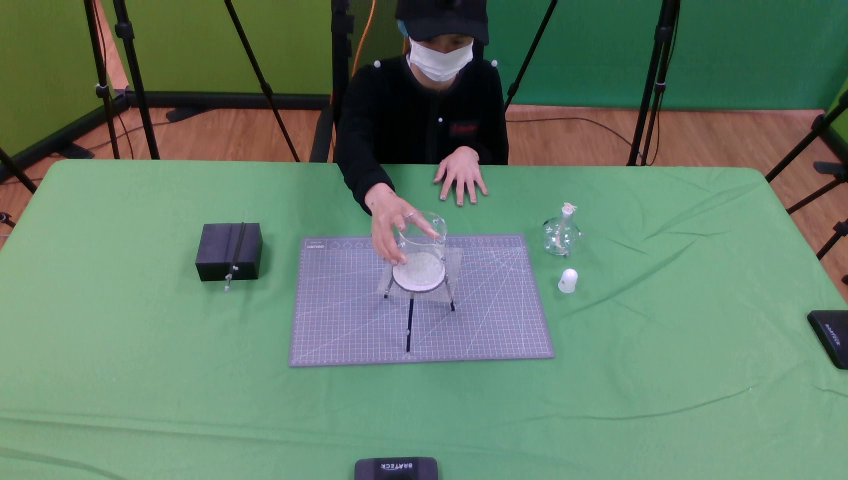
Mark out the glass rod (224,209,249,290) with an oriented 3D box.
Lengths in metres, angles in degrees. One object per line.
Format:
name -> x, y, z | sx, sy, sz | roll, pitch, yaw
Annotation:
glass rod -> -0.340, 0.013, 1.102 | 0.008, 0.008, 0.198 | 2, 45, -3

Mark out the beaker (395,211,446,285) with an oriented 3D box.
beaker -> -0.002, 0.017, 0.942 | 0.083, 0.101, 0.074 | 36, 54, 28

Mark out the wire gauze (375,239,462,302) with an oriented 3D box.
wire gauze -> -0.006, 0.049, 0.977 | 0.121, 0.011, 0.124 | 10, 44, 5

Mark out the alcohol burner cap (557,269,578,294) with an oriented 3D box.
alcohol burner cap -> 0.270, 0.074, 1.135 | 0.034, 0.048, 0.033 | 3, 46, -2

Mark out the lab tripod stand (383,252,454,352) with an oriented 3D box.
lab tripod stand -> -0.015, 0.094, 1.025 | 0.148, 0.132, 0.147 | 1, 46, -1

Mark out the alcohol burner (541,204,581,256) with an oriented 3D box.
alcohol burner -> 0.271, -0.026, 1.182 | 0.078, 0.119, 0.077 | 4, 46, -3
